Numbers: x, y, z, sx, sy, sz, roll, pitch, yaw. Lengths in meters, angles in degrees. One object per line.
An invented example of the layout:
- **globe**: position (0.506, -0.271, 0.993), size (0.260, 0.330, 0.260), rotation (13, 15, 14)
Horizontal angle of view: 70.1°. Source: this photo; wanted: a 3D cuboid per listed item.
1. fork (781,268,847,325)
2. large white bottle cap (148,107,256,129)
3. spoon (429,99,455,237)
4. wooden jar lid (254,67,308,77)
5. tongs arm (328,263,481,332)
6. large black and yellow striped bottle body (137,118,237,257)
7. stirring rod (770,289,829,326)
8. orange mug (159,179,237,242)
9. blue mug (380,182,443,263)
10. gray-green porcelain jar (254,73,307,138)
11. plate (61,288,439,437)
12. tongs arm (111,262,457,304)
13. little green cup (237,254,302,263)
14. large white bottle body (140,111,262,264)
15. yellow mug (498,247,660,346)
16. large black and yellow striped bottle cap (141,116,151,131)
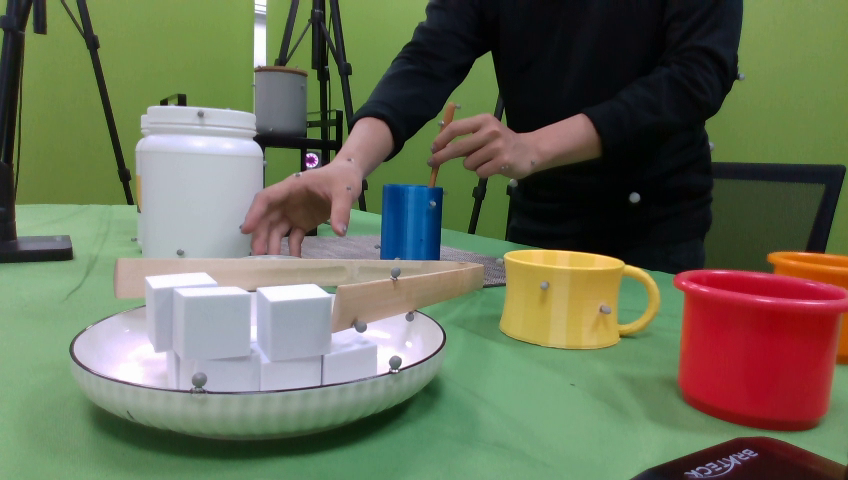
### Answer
- **fork**: position (0.324, 0.018, 0.441), size (0.028, 0.018, 0.207), rotation (-3, -36, -5)
- **large white bottle cap**: position (-0.250, -0.137, 0.686), size (0.115, 0.018, 0.115), rotation (3, 8, 0)
- **spoon**: position (0.013, -0.087, 0.790), size (0.041, 0.193, 0.022), rotation (13, 3, 11)
- **wooden jar lid**: position (-0.296, -0.339, 1.251), size (0.108, 0.020, 0.108), rotation (2, 7, 0)
- **tongs arm**: position (-0.003, 0.036, 0.493), size (0.050, 0.026, 0.386), rotation (1, -1, 19)
- **large black and yellow striped bottle body**: position (-0.330, -0.075, 0.849), size (0.131, 0.184, 0.130), rotation (2, 8, 0)
- **stirring rod**: position (0.349, 0.022, 0.468), size (0.014, 0.006, 0.175), rotation (-13, -26, -50)
- **orange mug**: position (-0.368, -0.051, 0.991), size (0.127, 0.101, 0.083), rotation (-10, 14, -41)
- **blue mug**: position (-0.019, -0.026, 0.832), size (0.082, 0.106, 0.116), rotation (1, 7, -5)
- **gray-green porcelain jar**: position (-0.298, -0.277, 1.259), size (0.106, 0.126, 0.106), rotation (3, 8, 0)
- **plate**: position (-0.095, 0.069, 0.362), size (0.208, 0.039, 0.207), rotation (3, 7, 0)
- **tongs arm**: position (-0.080, 0.032, 0.527), size (0.028, 0.027, 0.389), rotation (-3, -3, 33)
- **little green cup**: position (-0.150, 0.037, 0.590), size (0.061, 0.038, 0.061), rotation (3, 8, 0)
- **large white bottle body**: position (-0.254, -0.054, 0.697), size (0.131, 0.184, 0.130), rotation (2, 7, 0)
- **yellow mug**: position (0.130, 0.045, 0.508), size (0.131, 0.064, 0.100), rotation (4, 7, 6)
- **large black and yellow striped bottle cap**: position (-0.328, -0.158, 0.837), size (0.115, 0.019, 0.115), rotation (2, 6, 0)
